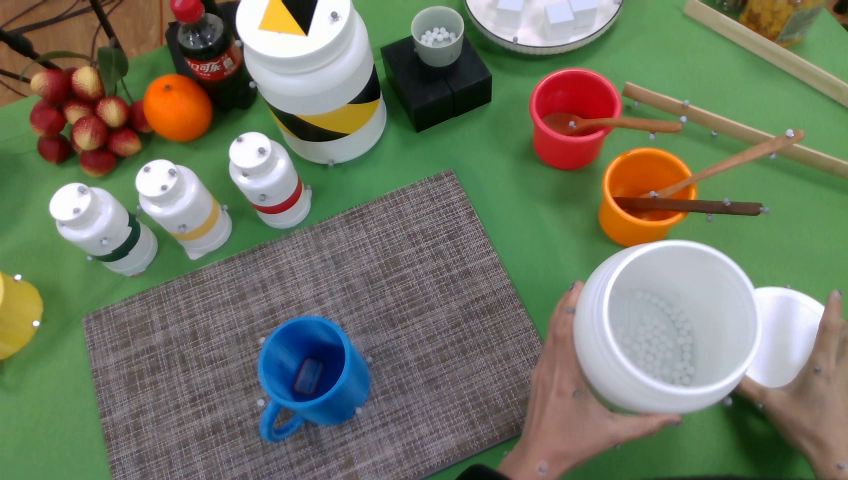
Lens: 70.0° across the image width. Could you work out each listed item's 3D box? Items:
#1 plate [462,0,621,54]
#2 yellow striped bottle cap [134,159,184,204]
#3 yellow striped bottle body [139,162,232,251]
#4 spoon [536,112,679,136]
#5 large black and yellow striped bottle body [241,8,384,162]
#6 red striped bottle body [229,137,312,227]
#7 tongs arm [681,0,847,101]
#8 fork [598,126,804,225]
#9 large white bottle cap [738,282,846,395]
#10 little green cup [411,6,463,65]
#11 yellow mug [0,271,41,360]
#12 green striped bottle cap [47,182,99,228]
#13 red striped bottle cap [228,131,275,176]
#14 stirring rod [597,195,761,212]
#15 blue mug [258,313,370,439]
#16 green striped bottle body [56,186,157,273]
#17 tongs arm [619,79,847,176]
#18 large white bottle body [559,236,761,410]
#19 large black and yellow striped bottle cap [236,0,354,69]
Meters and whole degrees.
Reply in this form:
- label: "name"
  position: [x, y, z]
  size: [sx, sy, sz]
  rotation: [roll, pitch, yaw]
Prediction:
- label: "plate"
  position: [0.151, -0.323, 0.792]
  size: [0.209, 0.038, 0.207]
  rotation: [-1, 67, 4]
- label: "yellow striped bottle cap"
  position: [-0.266, -0.059, 0.608]
  size: [0.044, 0.019, 0.044]
  rotation: [0, 61, 1]
- label: "yellow striped bottle body"
  position: [-0.260, -0.039, 0.656]
  size: [0.063, 0.121, 0.062]
  rotation: [-2, 65, 5]
- label: "spoon"
  position: [0.188, -0.125, 0.645]
  size: [0.041, 0.192, 0.022]
  rotation: [-40, 114, -16]
- label: "large black and yellow striped bottle body"
  position: [-0.121, -0.186, 0.674]
  size: [0.131, 0.185, 0.130]
  rotation: [-2, 66, 4]
- label: "red striped bottle body"
  position: [-0.169, -0.066, 0.661]
  size: [0.063, 0.120, 0.062]
  rotation: [-3, 66, 7]
- label: "tongs arm"
  position: [0.465, -0.186, 0.711]
  size: [0.028, 0.028, 0.385]
  rotation: [-40, 69, -20]
- label: "fork"
  position: [0.268, -0.062, 0.607]
  size: [0.207, 0.019, 0.028]
  rotation: [-30, 55, 41]
- label: "large white bottle cap"
  position: [0.346, 0.094, 0.592]
  size: [0.115, 0.018, 0.114]
  rotation: [-4, 57, 7]
- label: "little green cup"
  position: [0.016, -0.238, 0.710]
  size: [0.061, 0.039, 0.061]
  rotation: [-1, 64, 3]
- label: "yellow mug"
  position: [-0.479, 0.090, 0.647]
  size: [0.100, 0.064, 0.129]
  rotation: [-14, 67, -1]
- label: "green striped bottle cap"
  position: [-0.350, -0.035, 0.604]
  size: [0.044, 0.020, 0.044]
  rotation: [-1, 65, 2]
- label: "red striped bottle cap"
  position: [-0.175, -0.088, 0.613]
  size: [0.044, 0.018, 0.044]
  rotation: [0, 64, 1]
- label: "stirring rod"
  position: [0.246, -0.037, 0.605]
  size: [0.014, 0.006, 0.175]
  rotation: [-50, 29, -20]
- label: "blue mug"
  position: [-0.110, 0.137, 0.571]
  size: [0.082, 0.106, 0.116]
  rotation: [32, 73, 18]
- label: "green striped bottle body"
  position: [-0.344, -0.014, 0.652]
  size: [0.063, 0.120, 0.062]
  rotation: [-1, 66, 4]
- label: "tongs arm"
  position: [0.412, -0.119, 0.683]
  size: [0.383, 0.027, 0.050]
  rotation: [26, 67, 14]
- label: "large white bottle body"
  position: [0.188, 0.074, 0.506]
  size: [0.130, 0.186, 0.130]
  rotation: [-2, 73, 6]
- label: "large black and yellow striped bottle cap"
  position: [-0.127, -0.220, 0.595]
  size: [0.115, 0.019, 0.114]
  rotation: [-2, 69, 6]
